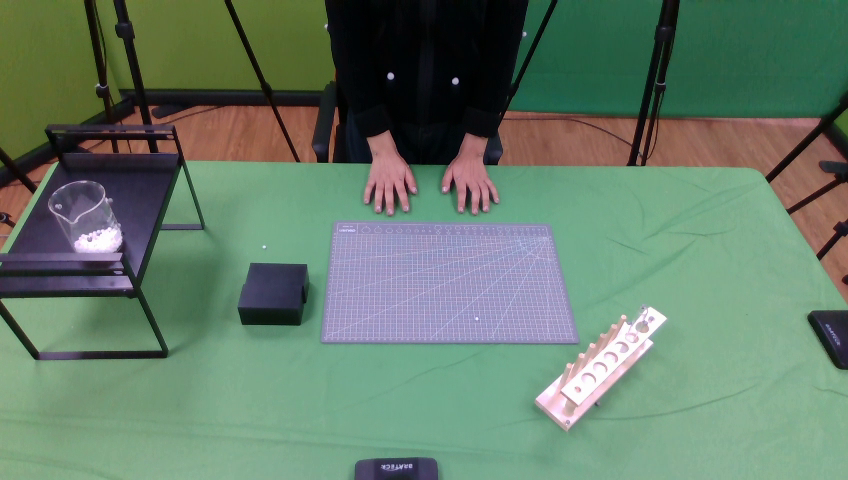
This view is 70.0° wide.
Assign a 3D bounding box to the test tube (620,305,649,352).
[{"bbox_3d":[0.330,0.150,0.960,0.017,0.151,0.017,-1,50,2],"label":"test tube"}]

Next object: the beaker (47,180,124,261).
[{"bbox_3d":[-0.486,-0.024,0.879,0.074,0.101,0.083,-7,48,-9],"label":"beaker"}]

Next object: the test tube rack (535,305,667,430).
[{"bbox_3d":[0.290,0.193,0.984,0.242,0.085,0.066,-32,57,-30],"label":"test tube rack"}]
